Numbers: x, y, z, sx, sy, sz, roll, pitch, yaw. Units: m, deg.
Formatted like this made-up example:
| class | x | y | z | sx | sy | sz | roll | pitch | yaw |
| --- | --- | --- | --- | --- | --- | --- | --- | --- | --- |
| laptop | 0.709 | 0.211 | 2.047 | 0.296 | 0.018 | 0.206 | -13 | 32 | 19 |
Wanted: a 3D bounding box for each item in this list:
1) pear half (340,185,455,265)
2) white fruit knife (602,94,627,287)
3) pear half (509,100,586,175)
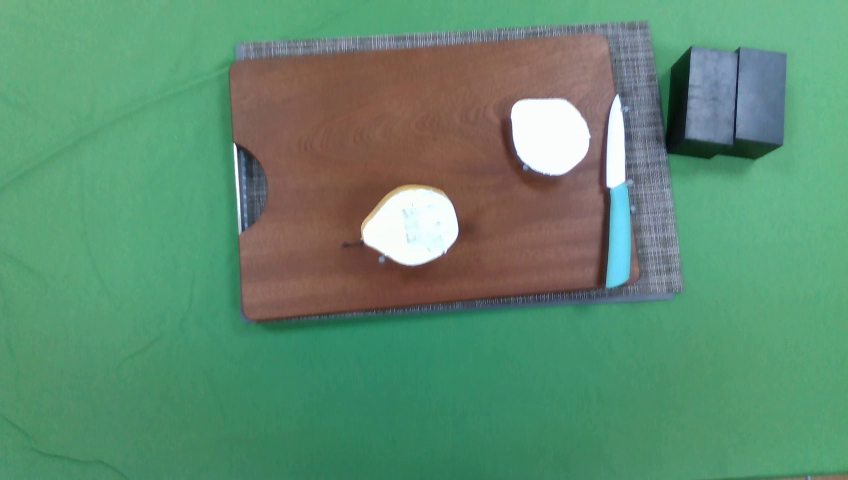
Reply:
| class | x | y | z | sx | sy | sz | roll | pitch | yaw |
| --- | --- | --- | --- | --- | --- | --- | --- | --- | --- |
| pear half | -0.028 | -0.012 | 0.586 | 0.110 | 0.055 | 0.076 | -12 | 100 | -6 |
| white fruit knife | 0.195 | -0.054 | 0.620 | 0.027 | 0.016 | 0.206 | 6 | 79 | -15 |
| pear half | 0.124 | -0.105 | 0.616 | 0.070 | 0.031 | 0.087 | -45 | 72 | 8 |
